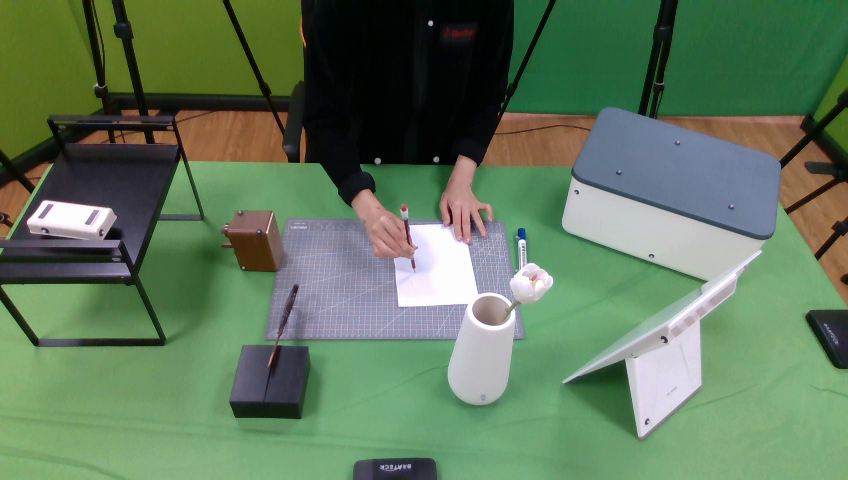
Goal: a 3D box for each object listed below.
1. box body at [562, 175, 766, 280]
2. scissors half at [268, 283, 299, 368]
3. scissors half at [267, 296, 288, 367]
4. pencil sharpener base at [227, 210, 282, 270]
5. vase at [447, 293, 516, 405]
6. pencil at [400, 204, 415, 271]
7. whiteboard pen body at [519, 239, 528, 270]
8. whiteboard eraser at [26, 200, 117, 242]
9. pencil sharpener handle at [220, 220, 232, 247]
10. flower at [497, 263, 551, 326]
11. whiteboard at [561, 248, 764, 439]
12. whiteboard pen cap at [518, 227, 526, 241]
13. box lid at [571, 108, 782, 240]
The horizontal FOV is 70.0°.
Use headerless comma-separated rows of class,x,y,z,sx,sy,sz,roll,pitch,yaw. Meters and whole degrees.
box body,0.486,-0.088,1.222,0.363,0.161,0.253,20,48,15
scissors half,-0.230,0.135,0.986,0.013,0.040,0.174,19,43,-11
scissors half,-0.239,0.150,0.997,0.013,0.040,0.174,24,24,-13
pencil sharpener base,-0.311,0.001,1.112,0.077,0.107,0.061,1,47,1
vase,0.091,0.169,0.921,0.098,0.201,0.097,3,47,-3
pencil,-0.027,0.002,1.070,0.012,0.195,0.012,-3,53,4
whiteboard pen body,0.193,0.035,1.181,0.017,0.017,0.140,6,48,1
whiteboard eraser,-0.532,-0.026,0.919,0.113,0.042,0.055,7,45,3
pencil sharpener handle,-0.362,-0.009,1.105,0.030,0.068,0.036,1,52,1
flower,0.102,0.121,0.852,0.044,0.363,0.038,-2,64,-10
whiteboard,0.386,0.176,0.905,0.217,0.306,0.143,-26,72,-27
whiteboard pen cap,0.197,-0.009,1.220,0.018,0.018,0.033,5,50,1
box lid,0.491,-0.139,1.168,0.370,0.015,0.262,21,49,15
